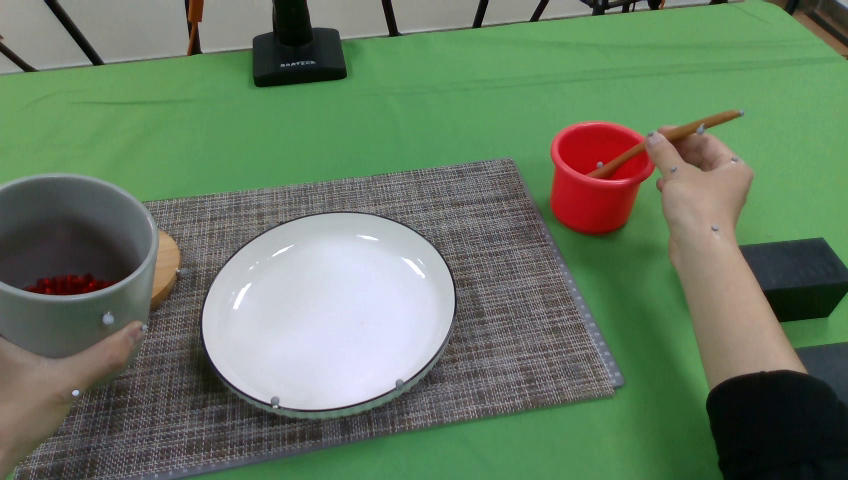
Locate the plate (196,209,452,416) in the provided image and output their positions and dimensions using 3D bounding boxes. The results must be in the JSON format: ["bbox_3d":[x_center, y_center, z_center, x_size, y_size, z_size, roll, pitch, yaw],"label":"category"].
[{"bbox_3d":[-0.080,0.058,0.510,0.208,0.039,0.205,0,47,0],"label":"plate"}]

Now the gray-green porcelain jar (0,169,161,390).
[{"bbox_3d":[-0.242,0.033,0.411,0.106,0.127,0.105,17,43,-16],"label":"gray-green porcelain jar"}]

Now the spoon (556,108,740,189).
[{"bbox_3d":[0.196,-0.081,0.558,0.042,0.193,0.021,1,72,-32],"label":"spoon"}]

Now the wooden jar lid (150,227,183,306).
[{"bbox_3d":[-0.273,0.028,0.550,0.108,0.021,0.107,1,45,0],"label":"wooden jar lid"}]
